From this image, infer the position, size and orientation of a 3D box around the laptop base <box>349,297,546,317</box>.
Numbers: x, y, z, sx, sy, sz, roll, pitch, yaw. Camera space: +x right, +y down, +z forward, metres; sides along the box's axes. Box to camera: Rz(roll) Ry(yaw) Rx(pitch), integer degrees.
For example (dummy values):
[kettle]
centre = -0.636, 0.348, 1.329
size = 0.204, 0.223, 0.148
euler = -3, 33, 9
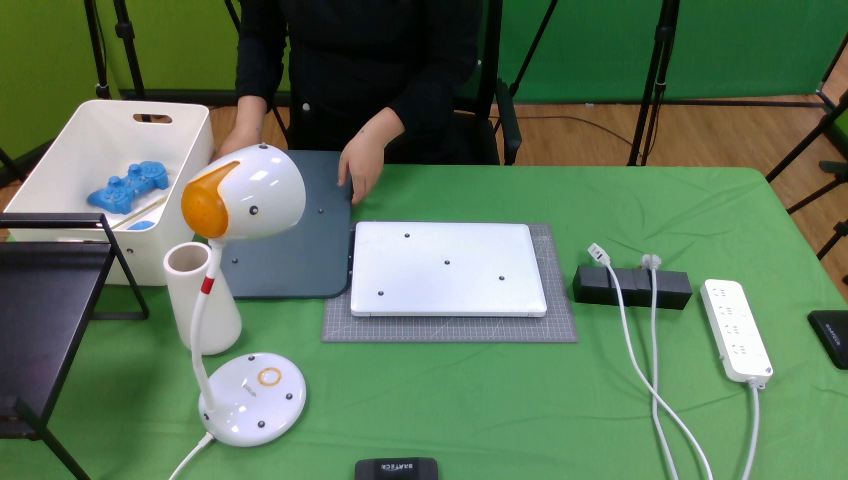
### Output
[laptop base]
centre = 0.040, 0.055, 1.149
size = 0.355, 0.023, 0.234
euler = 1, 42, -4

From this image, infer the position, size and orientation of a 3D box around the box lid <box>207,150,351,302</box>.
[box lid]
centre = -0.279, -0.040, 1.189
size = 0.263, 0.015, 0.369
euler = 0, 54, -4

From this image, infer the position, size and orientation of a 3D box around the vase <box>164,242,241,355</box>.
[vase]
centre = -0.349, 0.096, 0.954
size = 0.098, 0.201, 0.097
euler = 3, 47, -3

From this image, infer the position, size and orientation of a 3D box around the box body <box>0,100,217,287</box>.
[box body]
centre = -0.560, -0.092, 1.144
size = 0.254, 0.161, 0.361
euler = 3, 46, -2

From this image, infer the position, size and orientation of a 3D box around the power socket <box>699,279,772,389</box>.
[power socket]
centre = 0.551, 0.157, 1.081
size = 0.072, 0.033, 0.225
euler = 5, 46, 1

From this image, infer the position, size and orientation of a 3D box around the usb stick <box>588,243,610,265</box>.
[usb stick]
centre = 0.336, 0.024, 1.172
size = 0.027, 0.021, 0.059
euler = 33, 17, -12

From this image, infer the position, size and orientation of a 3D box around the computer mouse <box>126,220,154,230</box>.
[computer mouse]
centre = -0.537, 0.008, 1.127
size = 0.062, 0.041, 0.117
euler = 32, 56, 20

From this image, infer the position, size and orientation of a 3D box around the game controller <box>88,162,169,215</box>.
[game controller]
centre = -0.597, -0.113, 1.234
size = 0.097, 0.052, 0.155
euler = 29, 51, 20

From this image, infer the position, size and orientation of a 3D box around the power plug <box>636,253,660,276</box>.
[power plug]
centre = 0.415, 0.050, 1.139
size = 0.035, 0.053, 0.072
euler = 45, 49, 11

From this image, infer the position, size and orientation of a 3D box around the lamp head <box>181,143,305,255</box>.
[lamp head]
centre = -0.216, -0.044, 0.697
size = 0.112, 0.113, 0.123
euler = 23, 31, 17

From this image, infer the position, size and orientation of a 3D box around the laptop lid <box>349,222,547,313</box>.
[laptop lid]
centre = 0.041, 0.045, 1.143
size = 0.357, 0.013, 0.240
euler = 2, 44, -3

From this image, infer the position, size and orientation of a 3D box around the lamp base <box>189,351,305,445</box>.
[lamp base]
centre = -0.268, 0.196, 0.876
size = 0.160, 0.181, 0.179
euler = 26, 52, 20

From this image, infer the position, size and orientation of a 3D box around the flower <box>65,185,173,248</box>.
[flower]
centre = -0.566, -0.058, 1.199
size = 0.044, 0.038, 0.361
euler = 42, 52, -2
